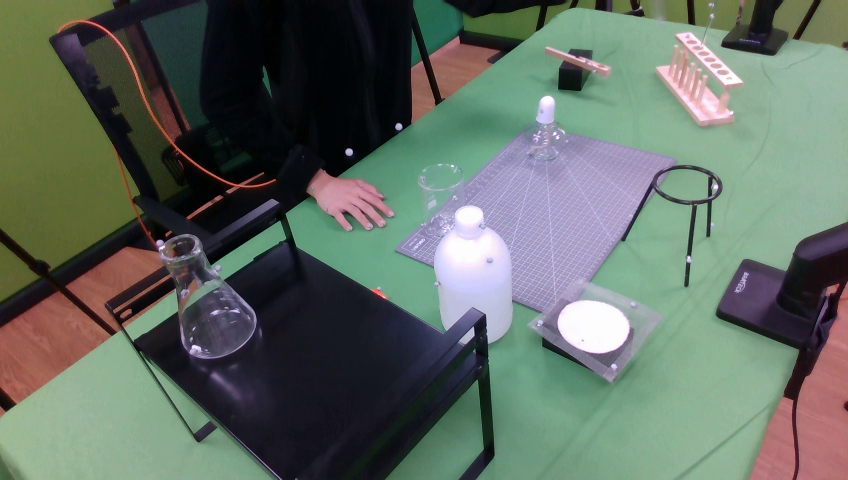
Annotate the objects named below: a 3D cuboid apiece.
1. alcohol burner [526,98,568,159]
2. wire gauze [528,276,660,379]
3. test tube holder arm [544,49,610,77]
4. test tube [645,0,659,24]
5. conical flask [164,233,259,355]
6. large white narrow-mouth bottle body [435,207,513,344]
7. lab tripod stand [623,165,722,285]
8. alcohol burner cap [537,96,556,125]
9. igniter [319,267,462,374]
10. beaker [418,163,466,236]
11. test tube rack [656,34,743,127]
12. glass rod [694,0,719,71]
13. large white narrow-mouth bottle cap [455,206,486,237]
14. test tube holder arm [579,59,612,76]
[{"bbox_3d":[0.228,-0.210,1.118,0.078,0.119,0.077,-5,43,5],"label":"alcohol burner"},{"bbox_3d":[0.213,0.103,0.763,0.124,0.011,0.122,30,52,35],"label":"wire gauze"},{"bbox_3d":[0.330,-0.386,1.314,0.013,0.015,0.177,-25,43,-31],"label":"test tube holder arm"},{"bbox_3d":[0.385,-0.445,1.045,0.017,0.151,0.017,-19,33,13],"label":"test tube"},{"bbox_3d":[-0.216,0.051,0.601,0.075,0.122,0.075,-4,40,4],"label":"conical flask"},{"bbox_3d":[0.065,0.041,0.791,0.102,0.195,0.101,-4,41,4],"label":"large white narrow-mouth bottle body"},{"bbox_3d":[0.365,-0.030,0.875,0.148,0.132,0.147,-6,41,6],"label":"lab tripod stand"},{"bbox_3d":[0.223,-0.237,1.095,0.034,0.048,0.033,0,43,1],"label":"alcohol burner cap"},{"bbox_3d":[-0.059,0.107,0.862,0.274,0.025,0.057,28,62,34],"label":"igniter"},{"bbox_3d":[0.035,-0.065,0.990,0.073,0.101,0.084,24,49,32],"label":"beaker"},{"bbox_3d":[0.553,-0.330,1.233,0.067,0.085,0.241,-7,40,2],"label":"test tube rack"},{"bbox_3d":[0.560,-0.401,1.214,0.008,0.200,0.008,-1,48,2],"label":"glass rod"},{"bbox_3d":[0.057,-0.023,0.734,0.038,0.024,0.037,-4,40,4],"label":"large white narrow-mouth bottle cap"},{"bbox_3d":[0.362,-0.368,1.289,0.010,0.015,0.087,-25,43,-32],"label":"test tube holder arm"}]
